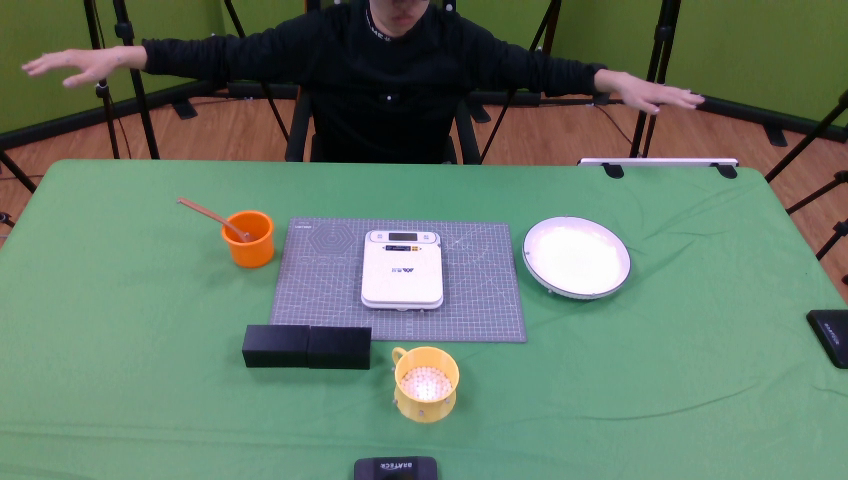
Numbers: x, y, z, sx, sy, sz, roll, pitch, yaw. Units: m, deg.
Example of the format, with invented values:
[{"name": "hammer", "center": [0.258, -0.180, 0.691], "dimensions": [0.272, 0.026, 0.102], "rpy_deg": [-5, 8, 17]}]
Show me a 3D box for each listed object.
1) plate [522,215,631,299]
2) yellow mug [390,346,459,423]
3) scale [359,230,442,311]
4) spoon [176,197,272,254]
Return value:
[{"name": "plate", "center": [0.292, 0.035, 1.175], "dimensions": [0.209, 0.038, 0.208], "rpy_deg": [2, 46, -2]}, {"name": "yellow mug", "center": [-0.009, 0.217, 0.958], "dimensions": [0.100, 0.064, 0.130], "rpy_deg": [-33, 56, -31]}, {"name": "scale", "center": [-0.043, 0.048, 1.138], "dimensions": [0.149, 0.032, 0.199], "rpy_deg": [2, 46, -3]}, {"name": "spoon", "center": [-0.362, -0.028, 1.108], "dimensions": [0.021, 0.195, 0.041], "rpy_deg": [-35, 36, 24]}]
